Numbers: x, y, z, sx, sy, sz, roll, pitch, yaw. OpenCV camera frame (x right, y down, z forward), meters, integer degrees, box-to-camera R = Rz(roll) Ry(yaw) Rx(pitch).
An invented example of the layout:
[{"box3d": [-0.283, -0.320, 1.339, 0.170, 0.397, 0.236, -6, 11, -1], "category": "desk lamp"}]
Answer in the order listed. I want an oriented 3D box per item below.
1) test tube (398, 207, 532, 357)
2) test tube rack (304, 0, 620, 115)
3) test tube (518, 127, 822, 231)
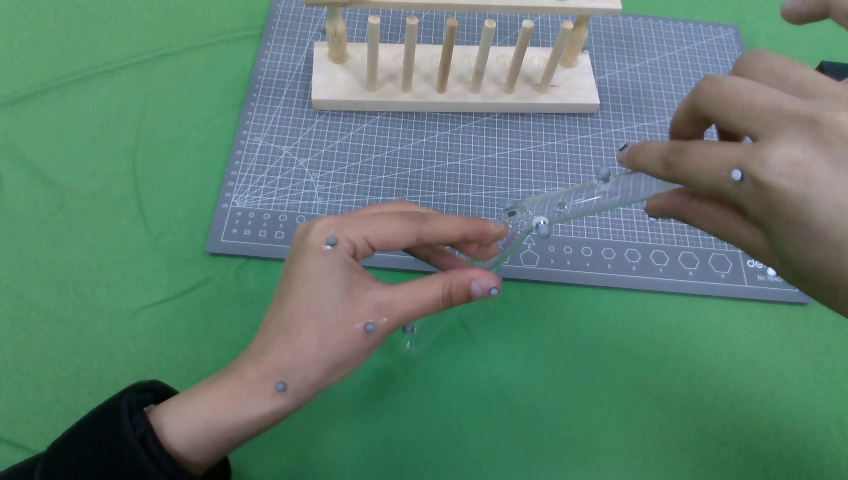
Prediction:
[{"box3d": [0.017, 0.030, 0.336, 0.017, 0.151, 0.017, 13, 52, -18], "category": "test tube"}, {"box3d": [0.029, -0.157, 0.494, 0.243, 0.086, 0.066, 0, 61, -5], "category": "test tube rack"}, {"box3d": [0.117, -0.030, 0.284, 0.150, 0.017, 0.017, -15, 63, -6], "category": "test tube"}]
